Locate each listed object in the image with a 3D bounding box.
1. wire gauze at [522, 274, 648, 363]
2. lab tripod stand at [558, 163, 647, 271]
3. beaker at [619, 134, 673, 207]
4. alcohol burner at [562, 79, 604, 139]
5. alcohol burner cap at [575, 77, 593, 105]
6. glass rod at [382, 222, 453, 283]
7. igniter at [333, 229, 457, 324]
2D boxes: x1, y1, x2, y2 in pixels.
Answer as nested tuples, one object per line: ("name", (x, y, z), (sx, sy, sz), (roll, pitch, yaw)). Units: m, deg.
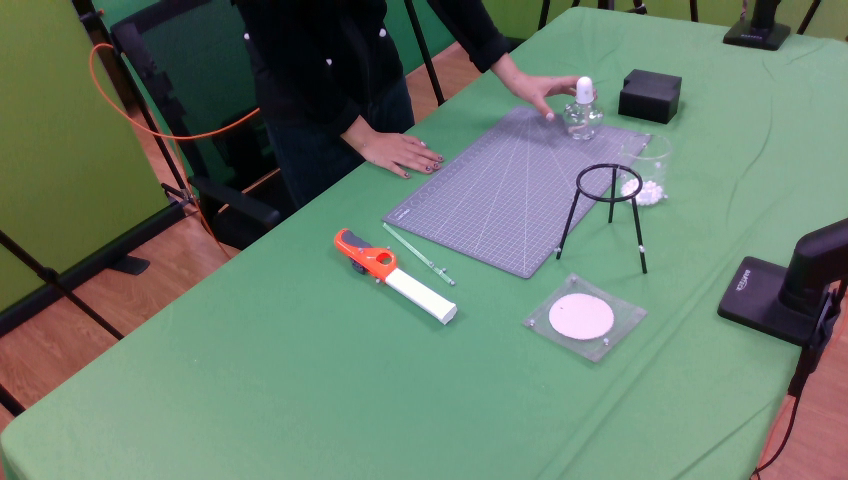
("wire gauze", (0.220, 0.105, 0.828), (0.125, 0.011, 0.120), (-35, 47, -30))
("lab tripod stand", (0.271, -0.034, 0.885), (0.148, 0.132, 0.147), (-4, 40, 4))
("beaker", (0.357, -0.110, 0.986), (0.084, 0.101, 0.073), (-10, 40, 1))
("alcohol burner", (0.303, -0.253, 1.147), (0.078, 0.119, 0.077), (-4, 41, 4))
("alcohol burner cap", (0.297, -0.279, 1.123), (0.034, 0.048, 0.033), (-9, 41, 8))
("glass rod", (-0.014, 0.017, 0.976), (0.008, 0.008, 0.198), (-30, 44, -22))
("igniter", (-0.055, 0.049, 0.929), (0.057, 0.025, 0.274), (-42, 49, -20))
